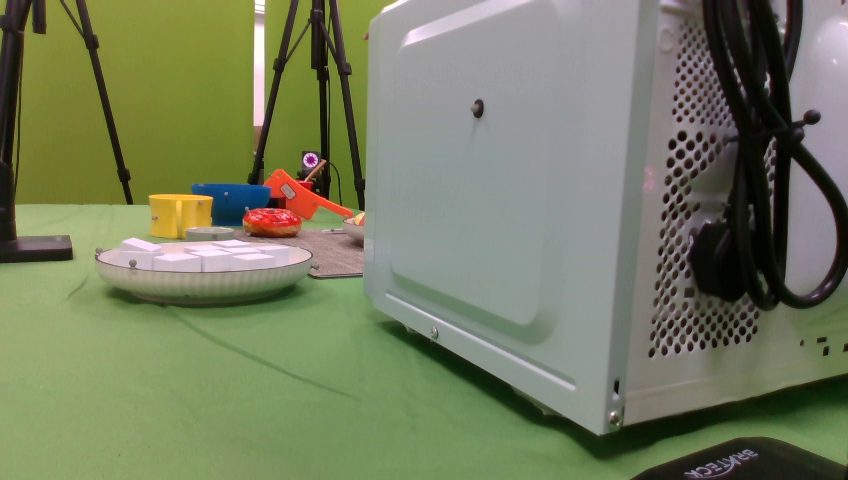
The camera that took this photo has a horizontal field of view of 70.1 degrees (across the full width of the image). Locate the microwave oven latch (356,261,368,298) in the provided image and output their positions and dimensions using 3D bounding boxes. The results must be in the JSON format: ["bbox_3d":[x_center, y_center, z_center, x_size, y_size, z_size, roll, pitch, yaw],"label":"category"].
[{"bbox_3d":[-0.019,0.033,0.530,0.079,0.029,0.030,0,7,-26],"label":"microwave oven latch"}]

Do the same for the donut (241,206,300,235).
[{"bbox_3d":[-0.263,-0.032,1.039,0.099,0.048,0.099,4,9,0],"label":"donut"}]

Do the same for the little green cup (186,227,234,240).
[{"bbox_3d":[-0.285,0.005,0.805,0.061,0.038,0.061,2,8,0],"label":"little green cup"}]

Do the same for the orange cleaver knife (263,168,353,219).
[{"bbox_3d":[-0.262,-0.088,1.352,0.211,0.077,0.012,27,13,0],"label":"orange cleaver knife"}]

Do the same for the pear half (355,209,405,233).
[{"bbox_3d":[-0.075,-0.035,1.045,0.088,0.031,0.070,5,26,-7],"label":"pear half"}]

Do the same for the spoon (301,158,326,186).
[{"bbox_3d":[-0.321,-0.161,1.646,0.041,0.022,0.194,9,54,33],"label":"spoon"}]

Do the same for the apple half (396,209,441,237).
[{"bbox_3d":[-0.008,-0.036,1.053,0.081,0.033,0.081,13,26,-6],"label":"apple half"}]

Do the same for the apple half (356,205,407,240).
[{"bbox_3d":[-0.065,-0.028,0.970,0.081,0.053,0.074,3,8,-27],"label":"apple half"}]

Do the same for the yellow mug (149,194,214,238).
[{"bbox_3d":[-0.401,-0.040,1.003,0.100,0.064,0.130,0,9,-20],"label":"yellow mug"}]

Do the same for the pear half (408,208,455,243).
[{"bbox_3d":[0.018,-0.026,1.000,0.076,0.056,0.110,10,8,19],"label":"pear half"}]

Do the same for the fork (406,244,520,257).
[{"bbox_3d":[0.064,0.015,0.893,0.208,0.018,0.028,-3,0,-35],"label":"fork"}]

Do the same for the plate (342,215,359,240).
[{"bbox_3d":[-0.033,-0.014,1.006,0.209,0.038,0.209,2,8,0],"label":"plate"}]

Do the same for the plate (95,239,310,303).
[{"bbox_3d":[-0.224,0.031,0.629,0.208,0.039,0.207,2,8,0],"label":"plate"}]

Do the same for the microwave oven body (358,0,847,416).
[{"bbox_3d":[0.211,-0.047,0.475,0.444,0.260,0.324,-1,7,-28],"label":"microwave oven body"}]

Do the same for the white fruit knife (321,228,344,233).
[{"bbox_3d":[-0.097,-0.022,1.142,0.208,0.016,0.027,-4,-21,-32],"label":"white fruit knife"}]

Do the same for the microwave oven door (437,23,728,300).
[{"bbox_3d":[0.180,-0.072,0.621,0.358,0.243,0.039,-2,8,-29],"label":"microwave oven door"}]

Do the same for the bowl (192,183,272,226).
[{"bbox_3d":[-0.381,-0.071,1.202,0.151,0.077,0.151,3,7,0],"label":"bowl"}]
